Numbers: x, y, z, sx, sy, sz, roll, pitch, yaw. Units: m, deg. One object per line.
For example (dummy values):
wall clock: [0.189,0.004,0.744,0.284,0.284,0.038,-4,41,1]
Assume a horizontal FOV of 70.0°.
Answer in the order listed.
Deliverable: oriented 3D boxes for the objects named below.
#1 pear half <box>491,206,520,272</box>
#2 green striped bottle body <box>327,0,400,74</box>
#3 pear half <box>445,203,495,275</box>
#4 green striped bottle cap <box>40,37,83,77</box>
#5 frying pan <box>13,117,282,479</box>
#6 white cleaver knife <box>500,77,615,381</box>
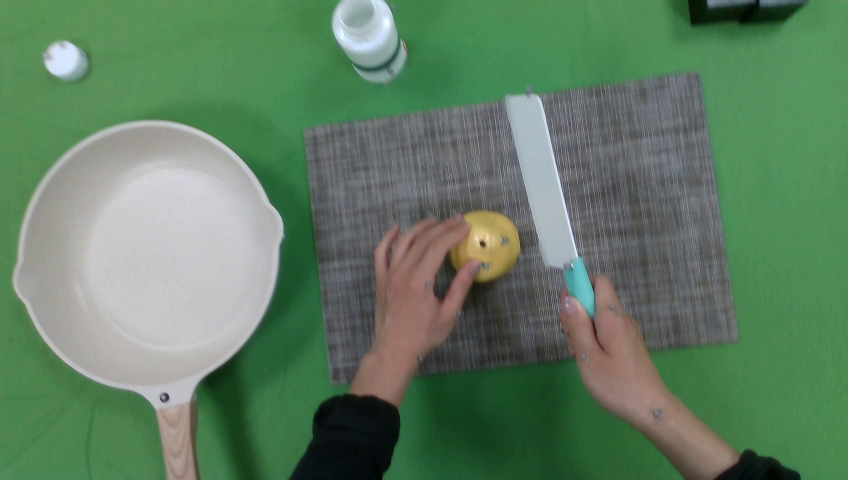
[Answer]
pear half: [0.085,-0.002,0.634,0.031,0.088,0.070,-3,84,6]
green striped bottle body: [-0.064,-0.225,0.643,0.063,0.119,0.063,0,87,6]
pear half: [0.048,-0.002,0.627,0.056,0.110,0.076,-2,84,6]
green striped bottle cap: [-0.435,-0.219,0.726,0.044,0.020,0.044,0,88,6]
frying pan: [-0.276,0.113,0.659,0.307,0.103,0.485,-13,79,5]
white cleaver knife: [0.122,-0.004,0.546,0.021,0.065,0.287,-21,103,-18]
